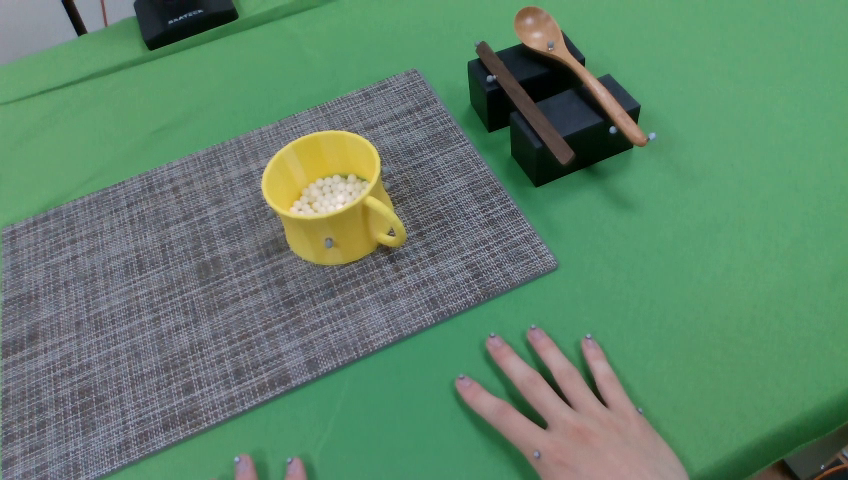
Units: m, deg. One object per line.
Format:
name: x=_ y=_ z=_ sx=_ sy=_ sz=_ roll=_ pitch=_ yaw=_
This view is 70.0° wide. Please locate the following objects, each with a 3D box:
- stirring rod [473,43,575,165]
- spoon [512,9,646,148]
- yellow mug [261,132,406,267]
stirring rod: x=0.084 y=-0.126 z=0.535 sx=0.014 sy=0.006 sz=0.174 roll=-46 pitch=50 yaw=23
spoon: x=0.136 y=-0.148 z=0.541 sx=0.041 sy=0.022 sz=0.191 roll=-23 pitch=55 yaw=-9
yellow mug: x=-0.069 y=-0.029 z=0.515 sx=0.130 sy=0.064 sz=0.099 roll=26 pitch=62 yaw=25
